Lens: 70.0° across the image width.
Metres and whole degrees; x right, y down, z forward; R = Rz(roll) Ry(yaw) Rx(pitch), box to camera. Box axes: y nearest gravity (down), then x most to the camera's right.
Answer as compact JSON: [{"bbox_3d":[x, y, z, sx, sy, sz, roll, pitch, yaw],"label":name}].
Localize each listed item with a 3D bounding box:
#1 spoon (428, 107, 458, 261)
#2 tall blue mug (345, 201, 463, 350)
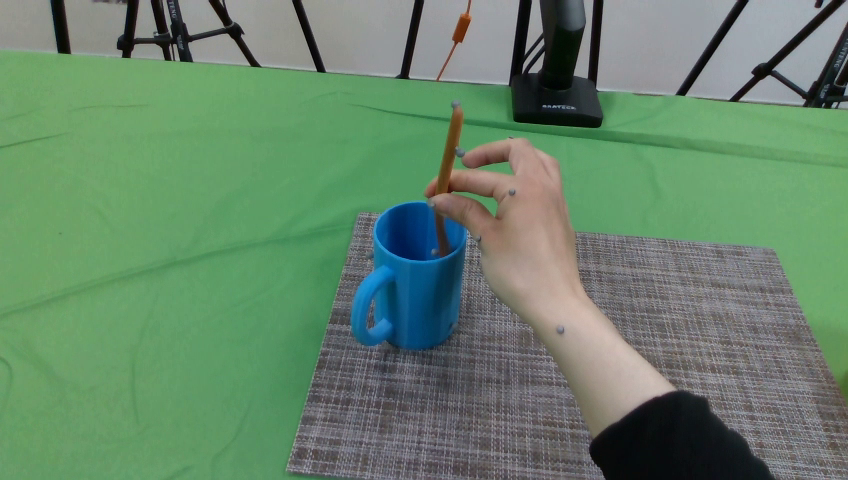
[{"bbox_3d":[0.011,-0.019,0.466,0.021,0.195,0.041,3,49,1],"label":"spoon"},{"bbox_3d":[-0.014,0.041,0.509,0.077,0.109,0.106,12,43,7],"label":"tall blue mug"}]
